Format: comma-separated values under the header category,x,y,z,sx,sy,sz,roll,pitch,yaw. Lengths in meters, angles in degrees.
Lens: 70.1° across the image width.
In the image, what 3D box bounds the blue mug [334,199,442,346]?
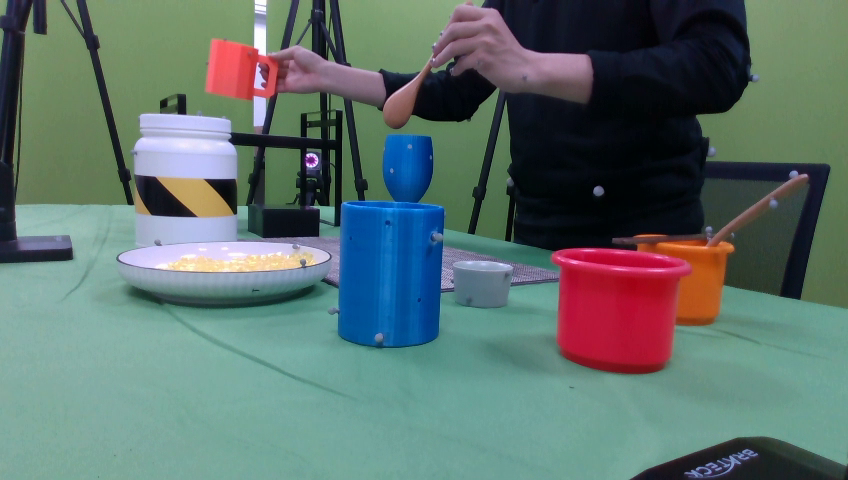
category,x,y,z,sx,sy,sz,roll,pitch,yaw
blue mug,-0.034,0.020,0.498,0.083,0.106,0.116,0,7,-20

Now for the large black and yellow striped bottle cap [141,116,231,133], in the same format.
category,x,y,z,sx,sy,sz,roll,pitch,yaw
large black and yellow striped bottle cap,-0.324,-0.157,0.826,0.115,0.019,0.115,1,7,0

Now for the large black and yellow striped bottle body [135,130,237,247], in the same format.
category,x,y,z,sx,sy,sz,roll,pitch,yaw
large black and yellow striped bottle body,-0.327,-0.074,0.838,0.131,0.184,0.130,2,7,0

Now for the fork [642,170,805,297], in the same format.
category,x,y,z,sx,sy,sz,roll,pitch,yaw
fork,0.261,0.004,0.545,0.028,0.018,0.207,5,-37,-15

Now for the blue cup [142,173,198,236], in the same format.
category,x,y,z,sx,sy,sz,roll,pitch,yaw
blue cup,-0.425,-0.060,1.014,0.093,0.100,0.092,4,9,0

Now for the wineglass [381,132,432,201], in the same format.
category,x,y,z,sx,sy,sz,roll,pitch,yaw
wineglass,-0.026,-0.062,0.841,0.074,0.172,0.073,2,7,0

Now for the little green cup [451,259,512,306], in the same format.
category,x,y,z,sx,sy,sz,roll,pitch,yaw
little green cup,0.057,0.043,0.612,0.061,0.038,0.061,3,8,0

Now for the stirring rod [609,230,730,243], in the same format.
category,x,y,z,sx,sy,sz,roll,pitch,yaw
stirring rod,0.241,-0.004,0.582,0.177,0.006,0.014,-4,10,-33

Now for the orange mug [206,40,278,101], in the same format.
category,x,y,z,sx,sy,sz,roll,pitch,yaw
orange mug,-0.343,-0.316,1.142,0.127,0.101,0.083,2,13,-17

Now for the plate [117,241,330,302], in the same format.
category,x,y,z,sx,sy,sz,roll,pitch,yaw
plate,-0.203,0.031,0.630,0.209,0.038,0.209,3,7,0

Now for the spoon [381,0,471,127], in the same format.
category,x,y,z,sx,sy,sz,roll,pitch,yaw
spoon,0.002,-0.235,0.809,0.041,0.193,0.022,39,11,13
